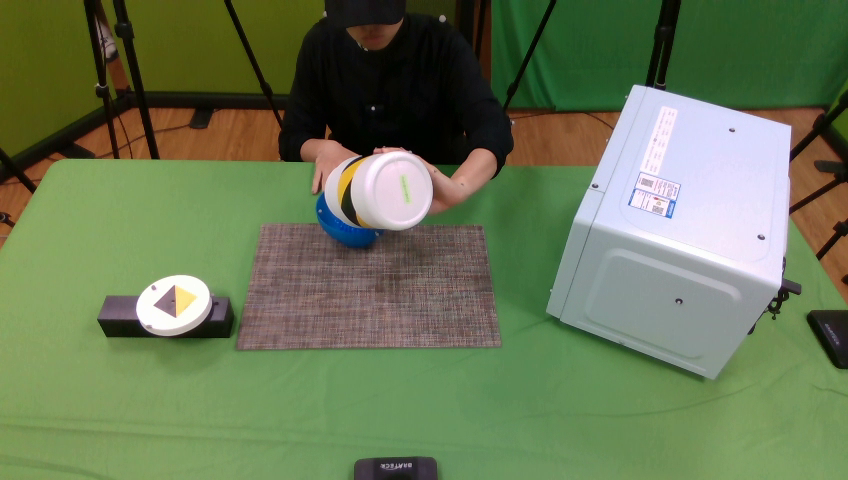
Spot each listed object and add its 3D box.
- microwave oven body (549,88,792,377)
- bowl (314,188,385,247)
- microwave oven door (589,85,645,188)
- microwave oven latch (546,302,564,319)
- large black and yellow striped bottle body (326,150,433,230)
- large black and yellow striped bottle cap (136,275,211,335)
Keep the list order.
[{"bbox_3d":[0.456,-0.028,1.088,0.325,0.261,0.440,20,47,16],"label":"microwave oven body"},{"bbox_3d":[-0.136,-0.040,1.180,0.151,0.077,0.150,2,46,-2],"label":"bowl"},{"bbox_3d":[0.341,-0.107,1.149,0.039,0.245,0.354,20,48,15],"label":"microwave oven door"},{"bbox_3d":[0.242,0.102,1.081,0.030,0.029,0.079,21,48,17],"label":"microwave oven latch"},{"bbox_3d":[-0.085,-0.084,1.049,0.131,0.131,0.183,-29,18,-28],"label":"large black and yellow striped bottle body"},{"bbox_3d":[-0.412,0.105,0.999,0.115,0.019,0.114,3,46,-3],"label":"large black and yellow striped bottle cap"}]
